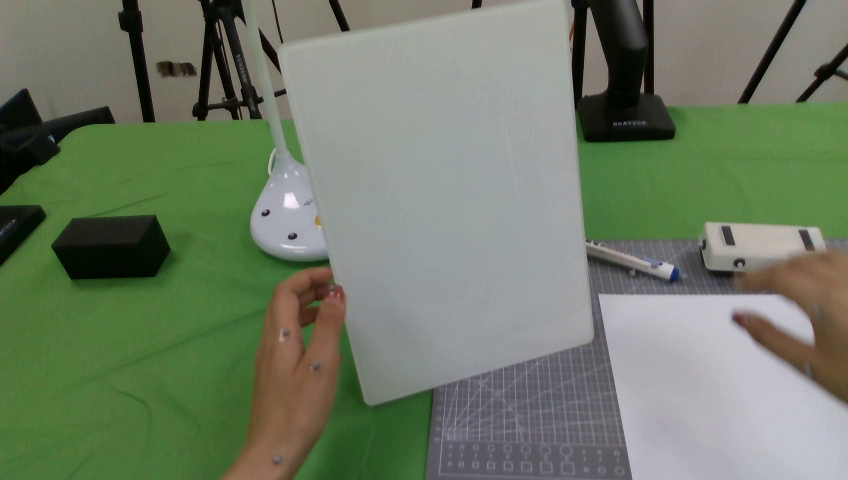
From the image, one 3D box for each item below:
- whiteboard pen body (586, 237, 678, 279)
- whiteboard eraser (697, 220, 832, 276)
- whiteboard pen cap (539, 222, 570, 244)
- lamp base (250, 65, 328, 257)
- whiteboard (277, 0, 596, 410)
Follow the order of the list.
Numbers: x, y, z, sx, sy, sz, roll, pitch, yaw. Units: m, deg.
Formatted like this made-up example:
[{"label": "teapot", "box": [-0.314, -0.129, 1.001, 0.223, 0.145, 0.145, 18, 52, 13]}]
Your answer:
[{"label": "whiteboard pen body", "box": [0.193, 0.012, 0.634, 0.140, 0.017, 0.017, 20, 45, 23]}, {"label": "whiteboard eraser", "box": [0.336, 0.010, 0.605, 0.112, 0.042, 0.055, 3, 38, 10]}, {"label": "whiteboard pen cap", "box": [0.143, -0.007, 0.658, 0.033, 0.018, 0.018, 19, 45, 21]}, {"label": "lamp base", "box": [-0.143, -0.098, 0.688, 0.160, 0.182, 0.177, -33, 44, -30]}, {"label": "whiteboard", "box": [0.013, -0.041, 0.546, 0.217, 0.307, 0.142, -14, 21, -9]}]
